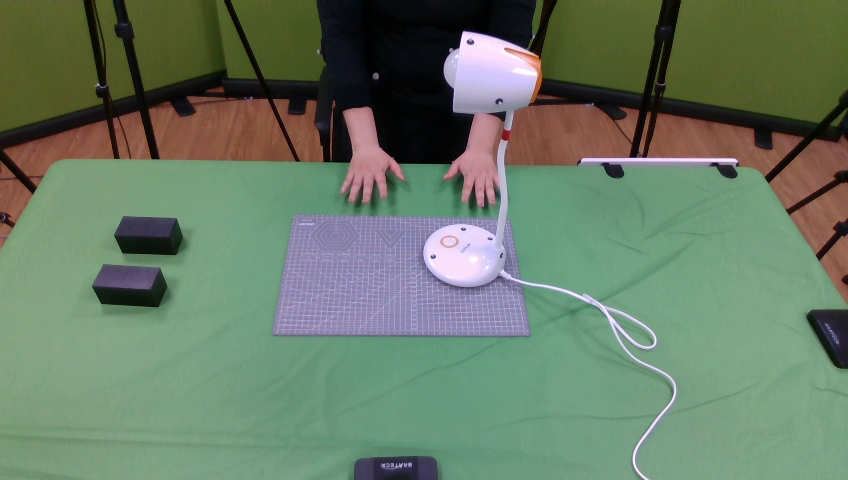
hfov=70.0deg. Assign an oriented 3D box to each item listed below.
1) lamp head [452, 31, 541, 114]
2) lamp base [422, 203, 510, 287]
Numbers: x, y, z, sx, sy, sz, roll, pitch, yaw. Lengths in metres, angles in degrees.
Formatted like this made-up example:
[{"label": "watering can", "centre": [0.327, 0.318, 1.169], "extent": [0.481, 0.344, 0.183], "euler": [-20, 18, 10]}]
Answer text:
[{"label": "lamp head", "centre": [0.102, -0.228, 0.858], "extent": [0.123, 0.113, 0.112], "euler": [11, 46, 0]}, {"label": "lamp base", "centre": [0.092, -0.021, 1.111], "extent": [0.179, 0.181, 0.160], "euler": [23, 49, 14]}]
